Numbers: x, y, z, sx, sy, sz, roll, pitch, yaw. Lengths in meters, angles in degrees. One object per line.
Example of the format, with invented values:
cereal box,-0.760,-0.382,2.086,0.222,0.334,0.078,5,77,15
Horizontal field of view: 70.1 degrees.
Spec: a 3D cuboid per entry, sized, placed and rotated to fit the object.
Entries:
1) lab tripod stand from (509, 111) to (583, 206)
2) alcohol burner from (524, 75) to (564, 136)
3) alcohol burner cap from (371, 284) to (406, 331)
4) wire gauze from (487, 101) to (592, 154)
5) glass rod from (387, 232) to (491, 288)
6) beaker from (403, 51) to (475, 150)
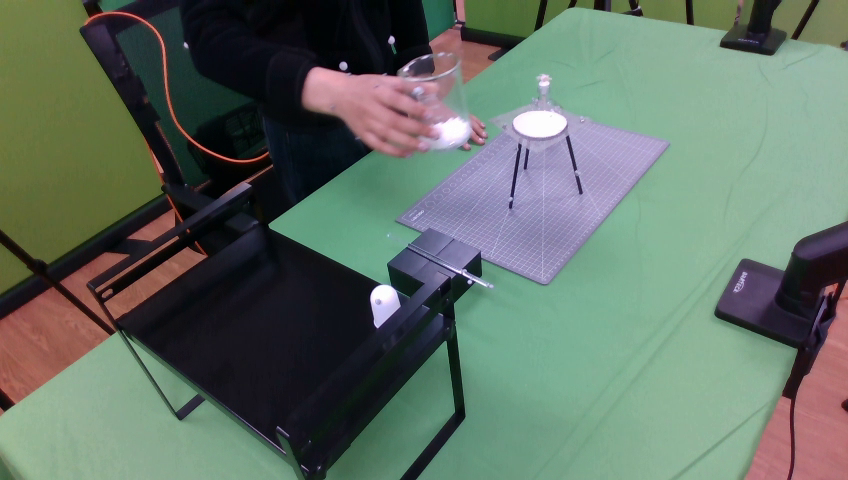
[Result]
lab tripod stand,0.197,-0.140,1.020,0.148,0.132,0.147,-3,39,3
alcohol burner,0.232,-0.263,1.175,0.078,0.119,0.077,-6,39,5
alcohol burner cap,-0.037,0.065,0.608,0.034,0.048,0.033,-4,42,4
wire gauze,0.185,-0.188,0.974,0.122,0.011,0.124,-27,44,-23
glass rod,0.017,0.027,0.877,0.198,0.008,0.008,26,51,34
beaker,0.020,-0.169,0.741,0.083,0.101,0.074,13,44,33
